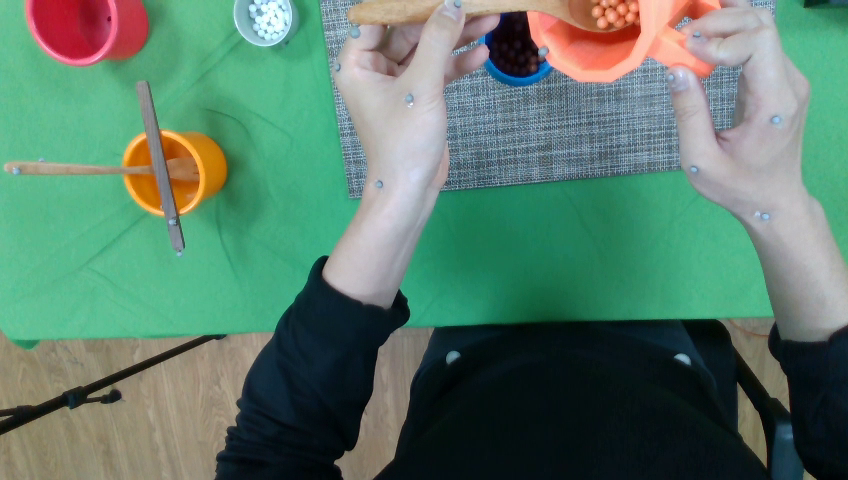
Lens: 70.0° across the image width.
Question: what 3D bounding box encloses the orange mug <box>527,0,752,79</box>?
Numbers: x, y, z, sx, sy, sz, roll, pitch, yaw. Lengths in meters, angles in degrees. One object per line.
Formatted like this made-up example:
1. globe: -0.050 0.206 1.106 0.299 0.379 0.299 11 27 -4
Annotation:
1. orange mug: 0.141 -0.155 0.390 0.125 0.100 0.084 39 148 17

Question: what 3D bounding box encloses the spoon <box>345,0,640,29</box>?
1. spoon: 0.048 -0.146 0.370 0.194 0.021 0.042 -10 119 -17

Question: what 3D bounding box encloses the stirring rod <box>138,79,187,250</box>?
1. stirring rod: -0.269 -0.075 0.627 0.014 0.006 0.177 -4 105 9

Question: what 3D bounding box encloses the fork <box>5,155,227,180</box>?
1. fork: -0.312 -0.076 0.634 0.208 0.018 0.028 -5 117 -37

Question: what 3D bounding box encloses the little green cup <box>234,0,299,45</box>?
1. little green cup: -0.160 -0.233 0.629 0.061 0.038 0.062 2 107 7

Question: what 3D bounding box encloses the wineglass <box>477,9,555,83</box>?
1. wineglass: 0.085 -0.177 0.543 0.073 0.171 0.074 2 105 7
